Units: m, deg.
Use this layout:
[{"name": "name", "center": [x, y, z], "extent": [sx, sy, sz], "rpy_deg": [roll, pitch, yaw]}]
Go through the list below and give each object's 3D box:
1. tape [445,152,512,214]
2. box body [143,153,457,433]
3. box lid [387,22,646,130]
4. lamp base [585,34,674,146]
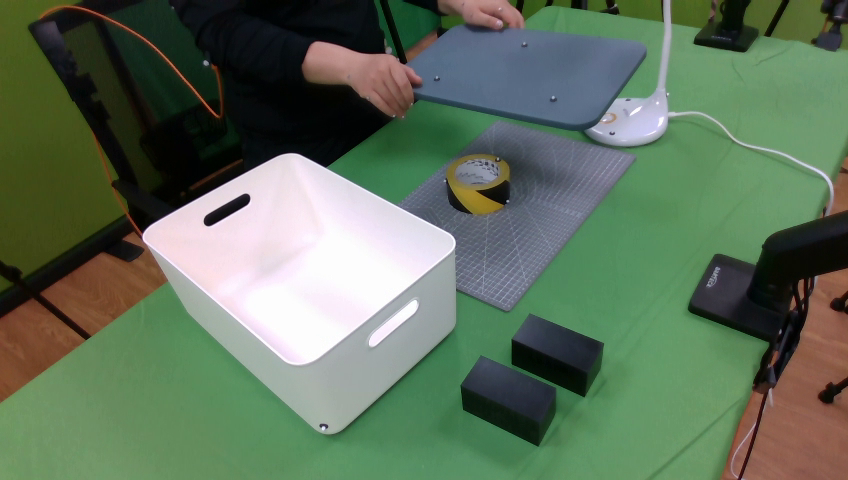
[{"name": "tape", "center": [0.095, -0.099, 1.043], "extent": [0.117, 0.053, 0.116], "rpy_deg": [-4, 41, 4]}, {"name": "box body", "center": [-0.158, 0.054, 0.819], "extent": [0.361, 0.161, 0.255], "rpy_deg": [29, 52, 34]}, {"name": "box lid", "center": [0.149, -0.280, 0.991], "extent": [0.369, 0.015, 0.263], "rpy_deg": [18, 50, 28]}, {"name": "lamp base", "center": [0.393, -0.291, 1.129], "extent": [0.180, 0.181, 0.159], "rpy_deg": [-11, 41, -8]}]
